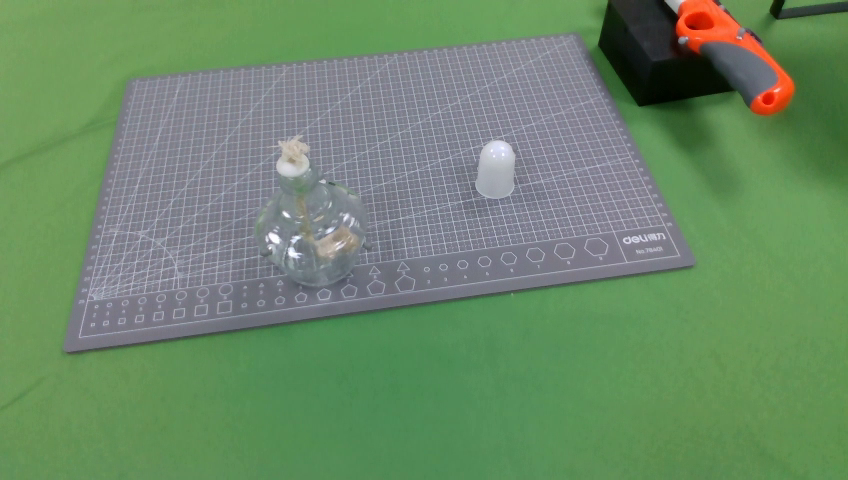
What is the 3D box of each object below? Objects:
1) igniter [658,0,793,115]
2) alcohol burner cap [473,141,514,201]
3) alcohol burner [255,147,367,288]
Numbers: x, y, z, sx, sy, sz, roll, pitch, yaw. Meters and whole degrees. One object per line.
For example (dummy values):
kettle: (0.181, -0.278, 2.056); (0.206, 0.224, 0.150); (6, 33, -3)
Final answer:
igniter: (0.241, -0.201, 0.541); (0.057, 0.025, 0.273); (-12, 51, -4)
alcohol burner cap: (0.057, -0.057, 0.481); (0.034, 0.048, 0.033); (0, 52, 0)
alcohol burner: (-0.079, -0.020, 0.410); (0.078, 0.120, 0.077); (-1, 54, 2)
